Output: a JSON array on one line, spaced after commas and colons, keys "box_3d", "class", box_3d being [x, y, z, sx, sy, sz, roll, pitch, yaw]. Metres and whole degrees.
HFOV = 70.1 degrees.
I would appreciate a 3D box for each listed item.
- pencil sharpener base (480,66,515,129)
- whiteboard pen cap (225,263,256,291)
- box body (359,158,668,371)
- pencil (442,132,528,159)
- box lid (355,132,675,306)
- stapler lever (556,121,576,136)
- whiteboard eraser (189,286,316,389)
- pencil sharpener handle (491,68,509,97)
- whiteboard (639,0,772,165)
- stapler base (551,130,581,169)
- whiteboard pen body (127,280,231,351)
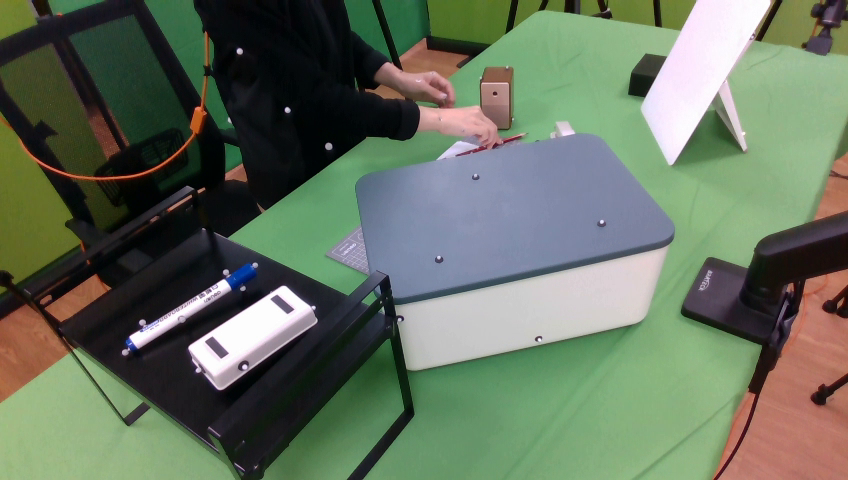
[{"box_3d": [0.151, -0.290, 1.228, 0.061, 0.107, 0.076, 3, 41, 13], "class": "pencil sharpener base"}, {"box_3d": [-0.204, 0.041, 0.668, 0.033, 0.018, 0.018, -36, 48, -22], "class": "whiteboard pen cap"}, {"box_3d": [0.108, 0.014, 0.833, 0.365, 0.161, 0.252, -11, 41, -5], "class": "box body"}, {"box_3d": [0.121, -0.183, 1.177, 0.195, 0.012, 0.012, -21, 42, -17], "class": "pencil"}, {"box_3d": [0.103, -0.042, 0.785, 0.372, 0.015, 0.261, -12, 41, -5], "class": "box lid"}, {"box_3d": [0.266, -0.198, 1.128, 0.027, 0.040, 0.117, 0, 38, 3], "class": "stapler lever"}, {"box_3d": [-0.166, 0.096, 0.593, 0.113, 0.042, 0.055, -36, 47, -29], "class": "whiteboard eraser"}, {"box_3d": [0.156, -0.333, 1.258, 0.036, 0.068, 0.030, 14, 43, 3], "class": "pencil sharpener handle"}, {"box_3d": [0.543, -0.298, 1.076, 0.144, 0.305, 0.216, 12, 40, -7], "class": "whiteboard"}, {"box_3d": [0.268, -0.178, 1.142, 0.041, 0.024, 0.130, 0, 37, 3], "class": "stapler base"}, {"box_3d": [-0.248, 0.072, 0.645, 0.141, 0.017, 0.017, -35, 47, -23], "class": "whiteboard pen body"}]
